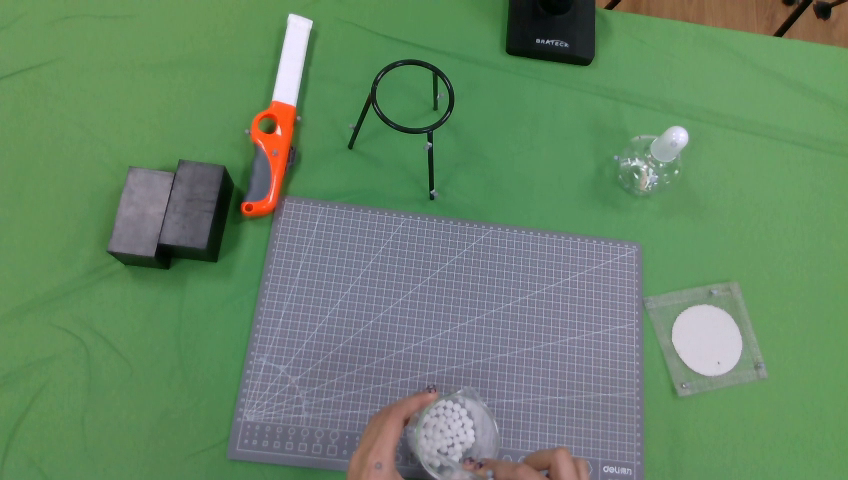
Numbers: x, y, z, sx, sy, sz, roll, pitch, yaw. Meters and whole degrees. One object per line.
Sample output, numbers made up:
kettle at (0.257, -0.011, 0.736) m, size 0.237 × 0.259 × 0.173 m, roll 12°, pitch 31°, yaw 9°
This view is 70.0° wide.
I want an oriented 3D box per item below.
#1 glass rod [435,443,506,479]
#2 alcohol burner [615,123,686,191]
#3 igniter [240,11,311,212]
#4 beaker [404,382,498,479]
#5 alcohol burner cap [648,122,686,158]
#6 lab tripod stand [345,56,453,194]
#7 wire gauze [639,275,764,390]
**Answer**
glass rod at (0.039, 0.188, 0.509) m, size 0.008 × 0.199 × 0.008 m, roll 3°, pitch 79°, yaw -14°
alcohol burner at (0.280, -0.107, 0.734) m, size 0.078 × 0.119 × 0.077 m, roll 2°, pitch 70°, yaw -5°
igniter at (-0.179, -0.161, 0.745) m, size 0.057 × 0.025 × 0.275 m, roll 13°, pitch 71°, yaw -18°
beaker at (0.021, 0.175, 0.568) m, size 0.074 × 0.100 × 0.083 m, roll 18°, pitch 74°, yaw -4°
alcohol burner cap at (0.283, -0.118, 0.700) m, size 0.034 × 0.048 × 0.033 m, roll 1°, pitch 76°, yaw -2°
lab tripod stand at (-0.019, -0.141, 0.702) m, size 0.148 × 0.132 × 0.147 m, roll 2°, pitch 71°, yaw -4°
wire gauze at (0.336, 0.110, 0.728) m, size 0.125 × 0.011 × 0.120 m, roll -10°, pitch 74°, yaw -7°
